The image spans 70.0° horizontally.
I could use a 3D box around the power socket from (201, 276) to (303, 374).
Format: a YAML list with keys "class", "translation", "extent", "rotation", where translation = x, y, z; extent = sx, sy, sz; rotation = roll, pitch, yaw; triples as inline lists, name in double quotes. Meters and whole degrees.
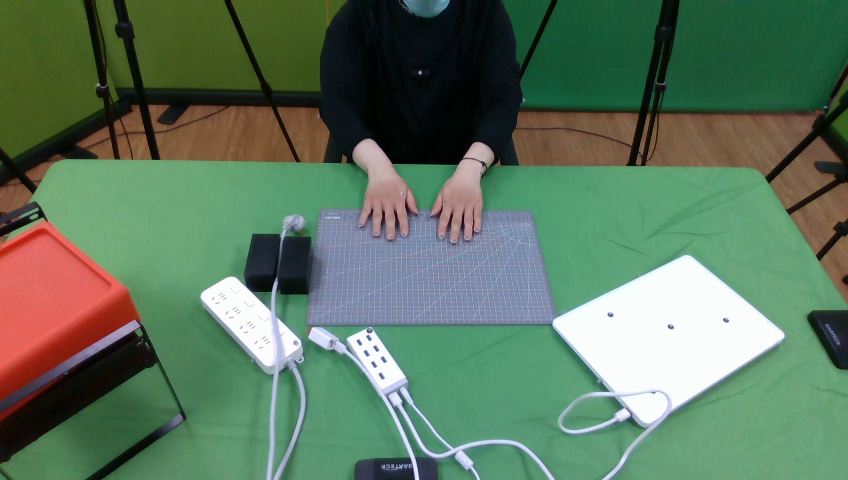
- class: "power socket"
  translation: [-0.296, 0.141, 1.034]
  extent: [0.072, 0.033, 0.225]
  rotation: [-35, 58, -30]

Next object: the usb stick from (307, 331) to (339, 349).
- class: "usb stick"
  translation: [-0.175, 0.167, 1.023]
  extent: [0.059, 0.027, 0.021]
  rotation: [10, 89, 24]

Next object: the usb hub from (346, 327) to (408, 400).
- class: "usb hub"
  translation: [-0.078, 0.202, 0.998]
  extent: [0.049, 0.025, 0.124]
  rotation: [-23, 53, -24]

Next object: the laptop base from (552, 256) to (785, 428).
- class: "laptop base"
  translation: [0.433, 0.164, 1.078]
  extent: [0.355, 0.023, 0.234]
  rotation: [-22, 48, -23]

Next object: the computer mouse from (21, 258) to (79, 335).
- class: "computer mouse"
  translation: [-0.505, 0.073, 0.819]
  extent: [0.063, 0.041, 0.116]
  rotation: [-6, 57, -19]

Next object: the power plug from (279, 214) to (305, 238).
- class: "power plug"
  translation: [-0.262, -0.020, 1.185]
  extent: [0.035, 0.053, 0.072]
  rotation: [10, 56, 34]

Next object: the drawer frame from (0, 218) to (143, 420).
- class: "drawer frame"
  translation: [-0.518, 0.096, 0.777]
  extent: [0.201, 0.083, 0.213]
  rotation: [30, 52, 22]

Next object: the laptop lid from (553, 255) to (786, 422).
- class: "laptop lid"
  translation: [0.433, 0.155, 1.070]
  extent: [0.357, 0.013, 0.240]
  rotation: [-20, 48, -22]

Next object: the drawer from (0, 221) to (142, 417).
- class: "drawer"
  translation: [-0.516, 0.095, 0.780]
  extent: [0.193, 0.073, 0.211]
  rotation: [32, 53, 23]
